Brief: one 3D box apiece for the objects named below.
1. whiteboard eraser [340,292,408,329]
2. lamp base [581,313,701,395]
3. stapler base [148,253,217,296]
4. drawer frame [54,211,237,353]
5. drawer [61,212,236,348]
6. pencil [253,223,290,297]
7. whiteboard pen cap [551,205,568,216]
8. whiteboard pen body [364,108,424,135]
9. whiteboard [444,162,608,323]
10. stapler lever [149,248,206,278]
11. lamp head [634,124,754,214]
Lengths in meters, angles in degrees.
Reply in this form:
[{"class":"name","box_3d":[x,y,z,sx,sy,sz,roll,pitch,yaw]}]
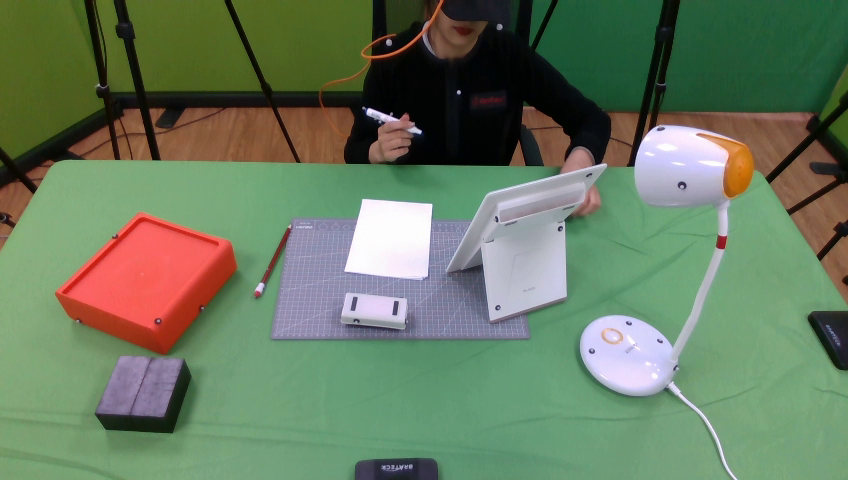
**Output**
[{"class":"whiteboard eraser","box_3d":[-0.087,0.125,1.052,0.113,0.042,0.055,5,45,1]},{"class":"lamp base","box_3d":[0.361,0.144,0.973,0.178,0.181,0.160,34,53,23]},{"class":"stapler base","box_3d":[-0.443,0.059,1.109,0.130,0.024,0.041,24,50,11]},{"class":"drawer frame","box_3d":[-0.473,0.067,1.055,0.201,0.083,0.212,17,48,11]},{"class":"drawer","box_3d":[-0.473,0.064,1.060,0.194,0.073,0.211,18,48,11]},{"class":"pencil","box_3d":[-0.286,0.033,1.150,0.012,0.012,0.193,9,46,4]},{"class":"whiteboard pen cap","box_3d":[0.279,-0.061,1.252,0.033,0.018,0.018,-12,47,4]},{"class":"whiteboard pen body","box_3d":[-0.064,-0.249,1.279,0.140,0.017,0.017,24,49,12]},{"class":"whiteboard","box_3d":[0.186,0.026,1.028,0.217,0.306,0.143,-14,68,-18]},{"class":"stapler lever","box_3d":[-0.443,0.037,1.084,0.118,0.040,0.027,19,49,17]},{"class":"lamp head","box_3d":[0.351,-0.089,0.775,0.112,0.113,0.122,-30,30,-28]}]
